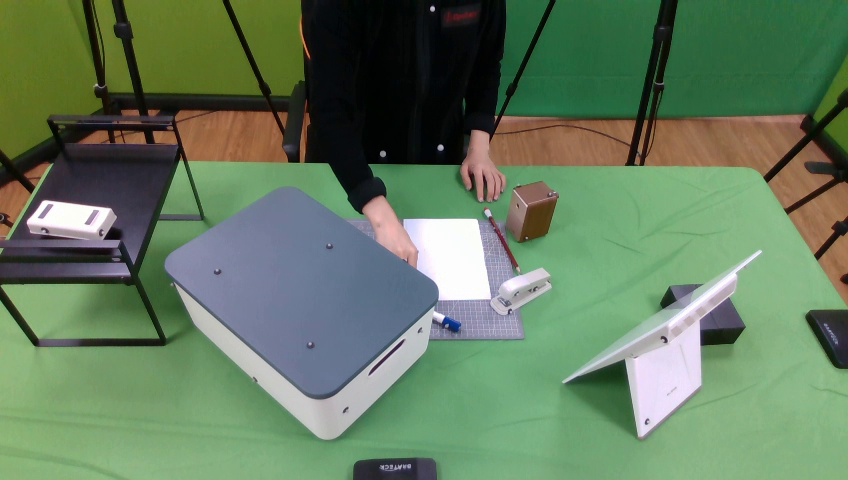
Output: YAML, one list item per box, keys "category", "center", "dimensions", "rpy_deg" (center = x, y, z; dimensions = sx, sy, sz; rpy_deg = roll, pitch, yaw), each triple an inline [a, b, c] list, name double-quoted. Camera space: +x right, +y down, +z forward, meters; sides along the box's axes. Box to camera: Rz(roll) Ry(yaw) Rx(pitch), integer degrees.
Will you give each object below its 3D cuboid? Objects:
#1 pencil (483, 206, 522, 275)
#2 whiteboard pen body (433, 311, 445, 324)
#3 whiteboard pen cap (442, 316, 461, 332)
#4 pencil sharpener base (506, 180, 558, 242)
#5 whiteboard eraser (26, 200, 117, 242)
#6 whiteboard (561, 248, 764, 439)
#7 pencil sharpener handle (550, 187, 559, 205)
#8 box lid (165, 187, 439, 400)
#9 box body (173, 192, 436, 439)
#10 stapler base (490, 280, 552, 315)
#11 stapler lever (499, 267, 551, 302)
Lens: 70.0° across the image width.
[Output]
- category: "pencil"
  center: [0.158, -0.001, 1.217]
  dimensions: [0.012, 0.012, 0.192]
  rpy_deg: [-11, 48, -14]
- category: "whiteboard pen body"
  center: [-0.004, 0.123, 1.074]
  dimensions: [0.140, 0.017, 0.017]
  rpy_deg: [24, 50, 15]
- category: "whiteboard pen cap"
  center: [0.048, 0.146, 1.059]
  dimensions: [0.033, 0.018, 0.018]
  rpy_deg: [24, 49, 16]
- category: "pencil sharpener base"
  center: [0.216, -0.058, 1.211]
  dimensions: [0.077, 0.107, 0.061]
  rpy_deg: [-16, 49, -19]
- category: "whiteboard eraser"
  center: [-0.532, -0.026, 0.919]
  dimensions: [0.113, 0.042, 0.055]
  rpy_deg: [7, 45, 3]
- category: "whiteboard"
  center: [0.386, 0.176, 0.905]
  dimensions: [0.217, 0.306, 0.143]
  rpy_deg: [-26, 72, -27]
- category: "pencil sharpener handle"
  center: [0.261, -0.084, 1.221]
  dimensions: [0.031, 0.068, 0.036]
  rpy_deg: [-16, 66, -19]
- category: "box lid"
  center: [-0.186, 0.060, 0.925]
  dimensions: [0.370, 0.015, 0.263]
  rpy_deg: [32, 53, 25]
- category: "box body"
  center: [-0.191, 0.110, 0.979]
  dimensions: [0.362, 0.161, 0.254]
  rpy_deg: [33, 53, 24]
- category: "stapler base"
  center: [0.181, 0.094, 1.118]
  dimensions: [0.130, 0.024, 0.041]
  rpy_deg: [-24, 56, -29]
- category: "stapler lever"
  center: [0.185, 0.076, 1.101]
  dimensions: [0.118, 0.040, 0.026]
  rpy_deg: [-25, 57, -29]
